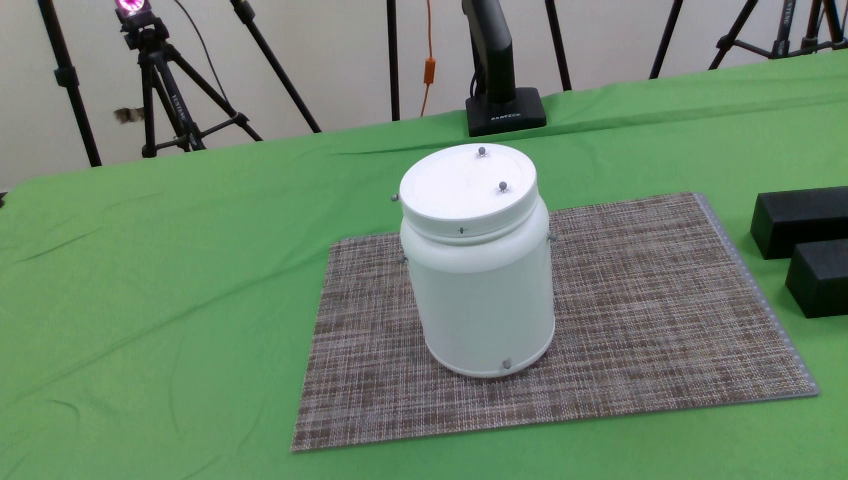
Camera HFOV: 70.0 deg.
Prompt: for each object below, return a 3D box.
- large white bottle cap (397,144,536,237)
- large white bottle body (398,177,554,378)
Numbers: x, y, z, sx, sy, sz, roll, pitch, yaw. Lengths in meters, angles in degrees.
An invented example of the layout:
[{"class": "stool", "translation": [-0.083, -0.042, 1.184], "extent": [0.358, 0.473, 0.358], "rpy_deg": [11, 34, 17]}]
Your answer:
[{"class": "large white bottle cap", "translation": [0.034, -0.044, 0.502], "extent": [0.115, 0.018, 0.113], "rpy_deg": [-7, 38, 6]}, {"class": "large white bottle body", "translation": [0.049, 0.022, 0.555], "extent": [0.130, 0.186, 0.129], "rpy_deg": [-8, 38, 6]}]
